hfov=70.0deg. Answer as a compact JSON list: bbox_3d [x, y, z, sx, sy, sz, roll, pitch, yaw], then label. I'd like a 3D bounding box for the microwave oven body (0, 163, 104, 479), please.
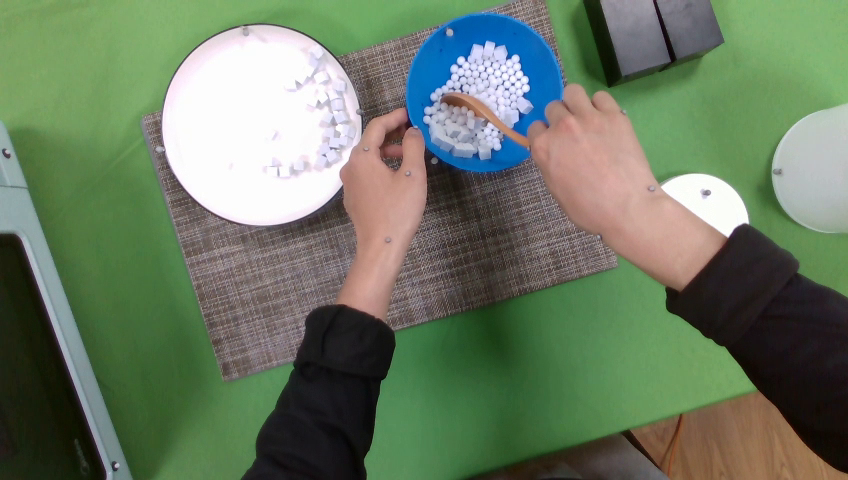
[{"bbox_3d":[-0.535,0.124,0.544,0.326,0.260,0.442,-19,93,1],"label":"microwave oven body"}]

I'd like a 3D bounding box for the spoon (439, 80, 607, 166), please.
[{"bbox_3d":[0.086,-0.107,0.559,0.192,0.042,0.021,39,90,33],"label":"spoon"}]

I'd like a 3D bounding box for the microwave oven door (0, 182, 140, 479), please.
[{"bbox_3d":[-0.383,0.116,0.537,0.039,0.243,0.356,-19,92,2],"label":"microwave oven door"}]

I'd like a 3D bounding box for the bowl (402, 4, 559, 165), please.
[{"bbox_3d":[0.055,-0.147,0.610,0.151,0.077,0.151,0,93,2],"label":"bowl"}]

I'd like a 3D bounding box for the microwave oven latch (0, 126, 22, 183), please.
[{"bbox_3d":[-0.450,-0.095,0.628,0.030,0.029,0.079,-19,93,1],"label":"microwave oven latch"}]

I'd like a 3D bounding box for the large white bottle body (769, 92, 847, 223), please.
[{"bbox_3d":[0.427,-0.080,0.558,0.130,0.184,0.130,0,92,1],"label":"large white bottle body"}]

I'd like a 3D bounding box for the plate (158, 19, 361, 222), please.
[{"bbox_3d":[-0.168,-0.122,0.635,0.209,0.038,0.209,0,93,1],"label":"plate"}]

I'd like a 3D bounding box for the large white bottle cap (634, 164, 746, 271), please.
[{"bbox_3d":[0.284,-0.024,0.647,0.115,0.018,0.115,0,93,0],"label":"large white bottle cap"}]
